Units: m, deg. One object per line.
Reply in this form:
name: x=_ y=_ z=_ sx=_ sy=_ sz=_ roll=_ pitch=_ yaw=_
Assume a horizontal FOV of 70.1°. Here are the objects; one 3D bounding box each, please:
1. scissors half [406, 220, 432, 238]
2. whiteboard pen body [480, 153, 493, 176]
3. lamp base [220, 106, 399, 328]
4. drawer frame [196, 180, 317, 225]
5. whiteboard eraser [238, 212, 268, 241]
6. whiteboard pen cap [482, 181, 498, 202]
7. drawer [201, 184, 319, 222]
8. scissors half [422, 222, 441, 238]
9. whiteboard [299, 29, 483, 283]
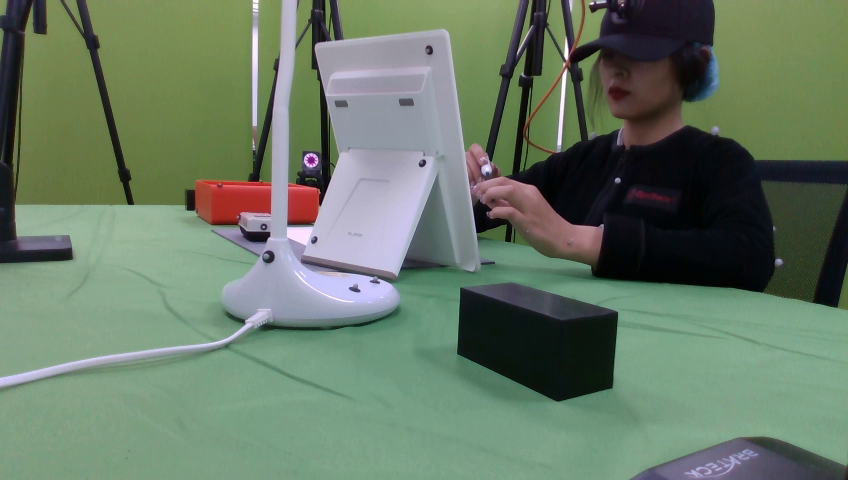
scissors half: x=-0.006 y=-0.022 z=1.215 sx=0.040 sy=0.013 sz=0.174 roll=6 pitch=10 yaw=-15
whiteboard pen body: x=0.095 y=-0.114 z=0.918 sx=0.017 sy=0.017 sz=0.140 roll=3 pitch=18 yaw=2
lamp base: x=-0.101 y=-0.023 z=0.531 sx=0.160 sy=0.180 sz=0.179 roll=4 pitch=10 yaw=10
drawer frame: x=-0.359 y=-0.083 z=1.292 sx=0.215 sy=0.082 sz=0.200 roll=-2 pitch=10 yaw=-30
whiteboard eraser: x=-0.272 y=-0.023 z=0.998 sx=0.056 sy=0.042 sz=0.112 roll=-2 pitch=9 yaw=-24
whiteboard pen cap: x=0.090 y=-0.069 z=0.839 sx=0.018 sy=0.018 sz=0.033 roll=1 pitch=39 yaw=-10
drawer: x=-0.353 y=-0.082 z=1.295 sx=0.213 sy=0.073 sz=0.193 roll=-2 pitch=10 yaw=-28
scissors half: x=0.013 y=-0.018 z=1.217 sx=0.040 sy=0.013 sz=0.175 roll=14 pitch=9 yaw=1
whiteboard: x=-0.074 y=-0.082 z=0.742 sx=0.216 sy=0.305 sz=0.144 roll=9 pitch=29 yaw=38
